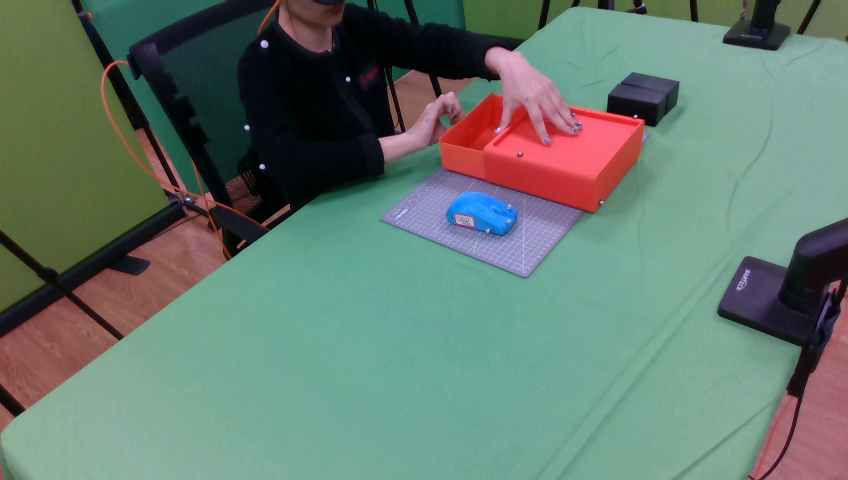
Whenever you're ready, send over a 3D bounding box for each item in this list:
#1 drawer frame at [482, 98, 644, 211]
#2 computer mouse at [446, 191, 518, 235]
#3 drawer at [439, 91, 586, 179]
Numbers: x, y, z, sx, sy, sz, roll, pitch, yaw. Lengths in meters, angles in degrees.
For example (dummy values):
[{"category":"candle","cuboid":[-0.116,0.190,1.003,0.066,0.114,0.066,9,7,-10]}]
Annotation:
[{"category":"drawer frame","cuboid":[0.246,-0.158,1.071,0.212,0.083,0.202,21,48,30]},{"category":"computer mouse","cuboid":[0.097,-0.048,1.004,0.116,0.041,0.063,18,45,23]},{"category":"drawer","cuboid":[0.167,-0.186,1.119,0.210,0.073,0.195,21,48,30]}]
